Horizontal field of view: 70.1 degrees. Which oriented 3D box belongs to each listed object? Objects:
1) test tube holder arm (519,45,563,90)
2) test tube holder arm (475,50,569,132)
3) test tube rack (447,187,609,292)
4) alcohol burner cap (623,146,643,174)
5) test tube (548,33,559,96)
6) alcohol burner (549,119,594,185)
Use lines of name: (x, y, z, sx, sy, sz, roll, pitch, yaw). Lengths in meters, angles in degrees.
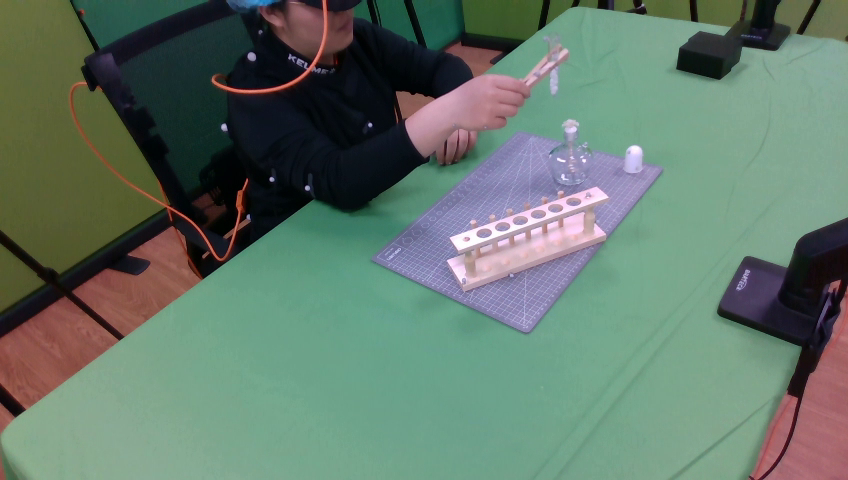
test tube holder arm: (0.180, -0.263, 0.929, 0.088, 0.015, 0.010, -47, 65, 2)
test tube holder arm: (0.150, -0.228, 0.930, 0.178, 0.015, 0.013, -40, 65, 5)
test tube rack: (0.155, -0.011, 0.913, 0.243, 0.085, 0.066, -19, 41, -12)
alcohol burner cap: (0.369, -0.143, 1.061, 0.034, 0.048, 0.033, -7, 41, 6)
test tube: (0.203, -0.269, 0.944, 0.017, 0.151, 0.017, -4, 70, 11)
alcohol burner: (0.254, -0.155, 1.043, 0.078, 0.120, 0.077, -7, 40, 6)
